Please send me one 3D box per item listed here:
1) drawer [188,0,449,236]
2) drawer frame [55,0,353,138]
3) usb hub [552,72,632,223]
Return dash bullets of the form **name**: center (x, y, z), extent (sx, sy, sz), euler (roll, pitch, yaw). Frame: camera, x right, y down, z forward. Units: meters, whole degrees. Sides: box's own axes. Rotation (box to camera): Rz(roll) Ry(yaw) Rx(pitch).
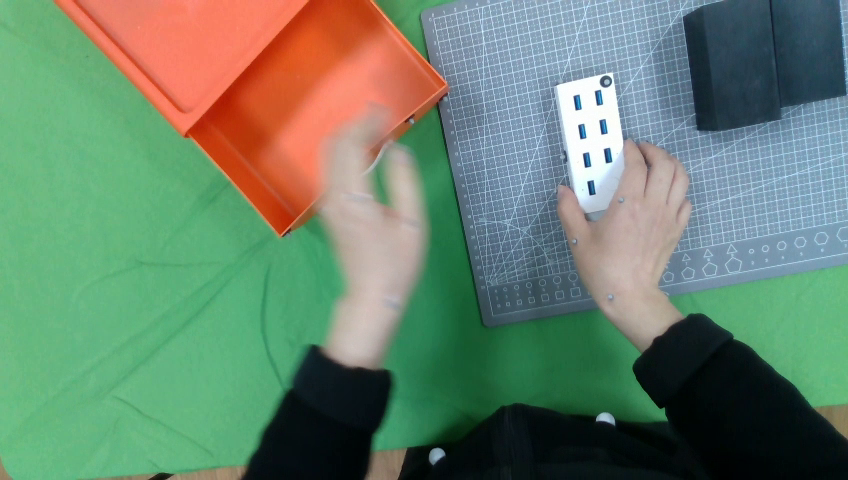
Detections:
- **drawer**: center (-0.117, -0.145, 0.526), extent (0.194, 0.073, 0.212), euler (-40, 94, 11)
- **drawer frame**: center (-0.197, -0.231, 0.513), extent (0.202, 0.082, 0.214), euler (-43, 94, 11)
- **usb hub**: center (0.151, -0.081, 0.540), extent (0.049, 0.025, 0.125), euler (-12, 100, 6)
